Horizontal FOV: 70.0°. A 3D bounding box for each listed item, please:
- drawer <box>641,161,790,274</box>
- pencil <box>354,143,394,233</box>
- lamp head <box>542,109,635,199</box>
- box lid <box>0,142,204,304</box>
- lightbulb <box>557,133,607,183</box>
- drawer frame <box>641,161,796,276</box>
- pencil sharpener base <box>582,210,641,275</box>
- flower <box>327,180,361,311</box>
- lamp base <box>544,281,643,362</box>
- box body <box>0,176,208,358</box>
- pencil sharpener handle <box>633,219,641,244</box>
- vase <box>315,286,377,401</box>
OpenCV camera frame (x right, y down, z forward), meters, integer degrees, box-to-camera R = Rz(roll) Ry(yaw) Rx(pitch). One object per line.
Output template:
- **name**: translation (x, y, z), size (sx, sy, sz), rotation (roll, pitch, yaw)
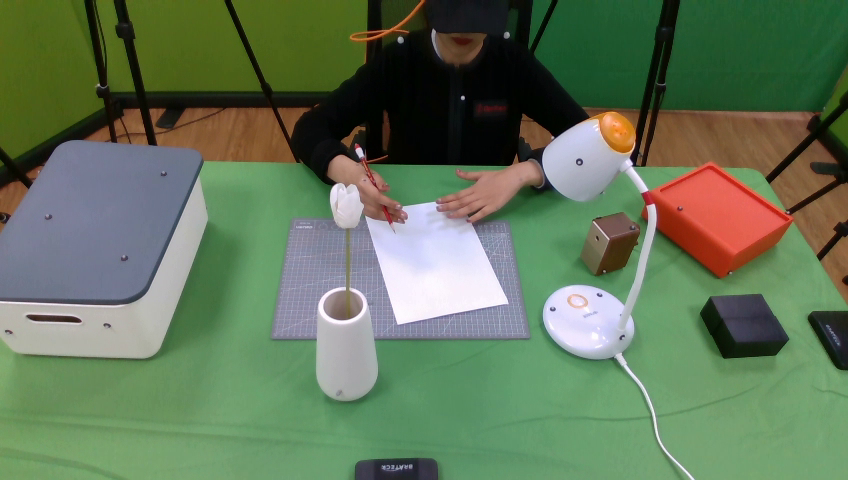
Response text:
- **drawer**: translation (0.596, -0.051, 1.246), size (0.194, 0.073, 0.210), rotation (-23, 53, -25)
- **pencil**: translation (-0.092, -0.098, 1.127), size (0.012, 0.012, 0.193), rotation (-18, 73, -20)
- **lamp head**: translation (0.253, -0.131, 0.893), size (0.113, 0.123, 0.112), rotation (10, 66, -24)
- **box lid**: translation (-0.534, -0.044, 0.995), size (0.263, 0.015, 0.369), rotation (3, 45, -3)
- **lightbulb**: translation (0.243, -0.127, 0.917), size (0.059, 0.108, 0.059), rotation (6, 67, -13)
- **drawer frame**: translation (0.599, -0.051, 1.244), size (0.202, 0.083, 0.212), rotation (-24, 52, -25)
- **pencil sharpener base**: translation (0.357, 0.005, 1.156), size (0.077, 0.107, 0.061), rotation (-15, 48, -18)
- **flower**: translation (-0.111, 0.086, 0.867), size (0.044, 0.363, 0.038), rotation (22, 33, 35)
- **lamp base**: translation (0.303, 0.095, 1.014), size (0.161, 0.181, 0.178), rotation (-24, 54, -24)
- **box body**: translation (-0.546, 0.017, 1.045), size (0.254, 0.161, 0.361), rotation (2, 46, -2)
- **pencil sharpener handle**: translation (0.405, -0.015, 1.162), size (0.031, 0.068, 0.035), rotation (-15, 45, -18)
- **vase**: translation (-0.119, 0.159, 0.911), size (0.098, 0.201, 0.097), rotation (2, 47, -2)
